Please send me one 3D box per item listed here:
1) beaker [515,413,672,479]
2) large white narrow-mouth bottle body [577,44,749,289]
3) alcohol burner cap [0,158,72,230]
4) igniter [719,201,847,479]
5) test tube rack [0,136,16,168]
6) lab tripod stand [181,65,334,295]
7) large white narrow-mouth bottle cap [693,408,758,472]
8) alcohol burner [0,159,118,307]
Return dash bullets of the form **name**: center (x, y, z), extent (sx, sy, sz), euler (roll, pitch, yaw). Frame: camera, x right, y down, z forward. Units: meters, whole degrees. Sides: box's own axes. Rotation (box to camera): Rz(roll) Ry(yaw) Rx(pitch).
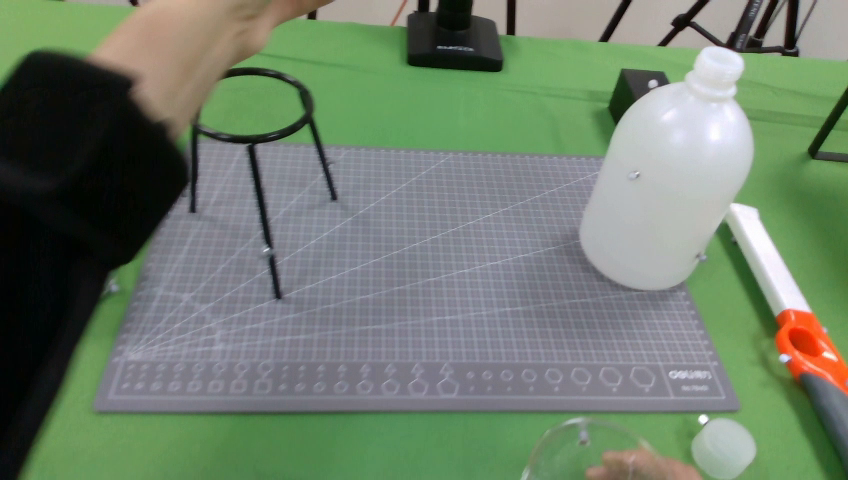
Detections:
- **beaker**: center (0.078, 0.152, 0.326), extent (0.084, 0.101, 0.073), euler (-7, 47, -12)
- **large white narrow-mouth bottle body**: center (0.191, -0.057, 0.473), extent (0.102, 0.196, 0.101), euler (3, 45, -3)
- **alcohol burner cap**: center (-0.260, -0.033, 0.402), extent (0.034, 0.048, 0.033), euler (2, 51, -3)
- **igniter**: center (0.297, 0.068, 0.487), extent (0.057, 0.025, 0.273), euler (12, 44, -11)
- **test tube rack**: center (-0.478, -0.066, 0.476), extent (0.242, 0.086, 0.066), euler (-32, 57, -32)
- **lab tripod stand**: center (-0.127, -0.052, 0.471), extent (0.148, 0.132, 0.147), euler (5, 46, -5)
- **large white narrow-mouth bottle cap**: center (0.205, 0.136, 0.413), extent (0.038, 0.024, 0.037), euler (3, 45, -3)
- **alcohol burner**: center (-0.263, -0.009, 0.429), extent (0.078, 0.120, 0.077), euler (5, 44, -4)
